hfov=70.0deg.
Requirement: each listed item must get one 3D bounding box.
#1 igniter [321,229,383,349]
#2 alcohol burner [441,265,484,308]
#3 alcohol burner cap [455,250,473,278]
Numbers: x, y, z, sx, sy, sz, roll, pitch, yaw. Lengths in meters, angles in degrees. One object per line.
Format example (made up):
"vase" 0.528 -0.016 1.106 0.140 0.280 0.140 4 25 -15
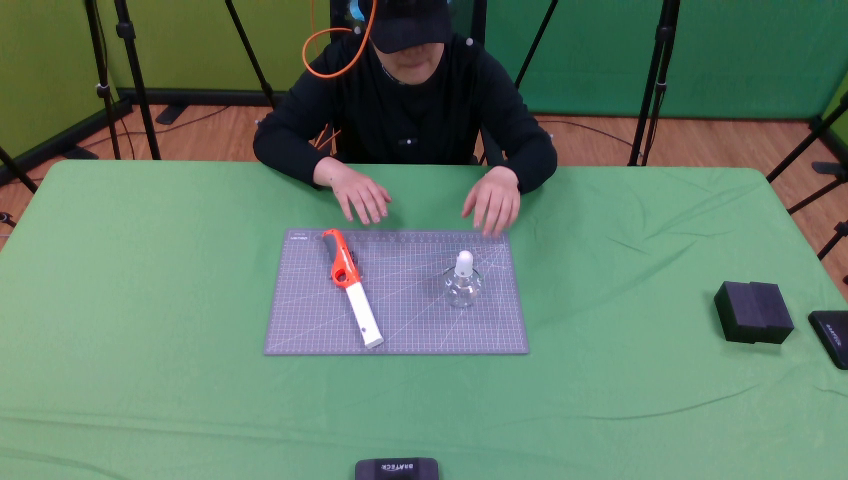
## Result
"igniter" -0.135 0.078 1.102 0.057 0.025 0.274 -28 53 1
"alcohol burner" 0.069 0.064 1.075 0.078 0.120 0.077 1 45 -1
"alcohol burner cap" 0.071 0.040 1.048 0.034 0.048 0.033 1 43 0
